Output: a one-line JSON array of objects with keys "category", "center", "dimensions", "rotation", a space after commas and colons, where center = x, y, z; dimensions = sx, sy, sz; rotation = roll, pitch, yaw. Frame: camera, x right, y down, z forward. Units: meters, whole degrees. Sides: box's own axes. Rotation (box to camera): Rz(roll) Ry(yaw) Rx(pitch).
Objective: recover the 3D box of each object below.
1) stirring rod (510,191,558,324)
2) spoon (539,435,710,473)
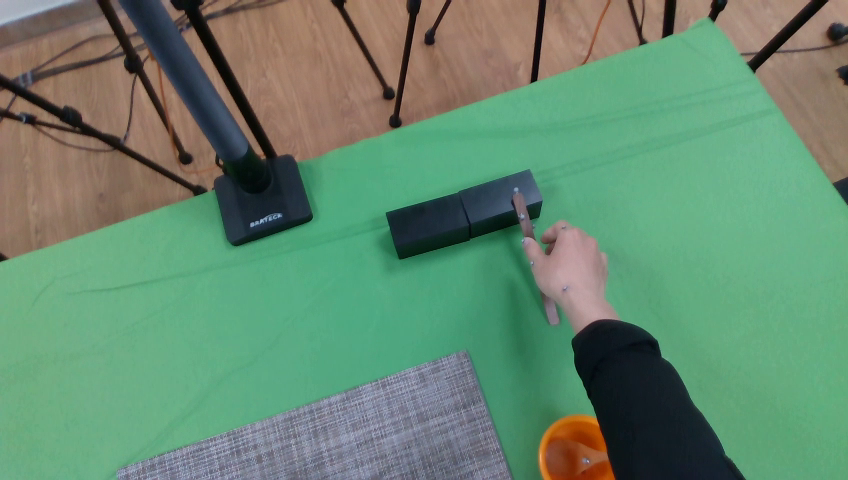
[{"category": "stirring rod", "center": [0.140, 0.022, 0.772], "dimensions": [0.014, 0.006, 0.176], "rotation": [-15, 86, -7]}, {"category": "spoon", "center": [0.202, 0.223, 0.637], "dimensions": [0.022, 0.193, 0.041], "rotation": [19, 62, -36]}]
